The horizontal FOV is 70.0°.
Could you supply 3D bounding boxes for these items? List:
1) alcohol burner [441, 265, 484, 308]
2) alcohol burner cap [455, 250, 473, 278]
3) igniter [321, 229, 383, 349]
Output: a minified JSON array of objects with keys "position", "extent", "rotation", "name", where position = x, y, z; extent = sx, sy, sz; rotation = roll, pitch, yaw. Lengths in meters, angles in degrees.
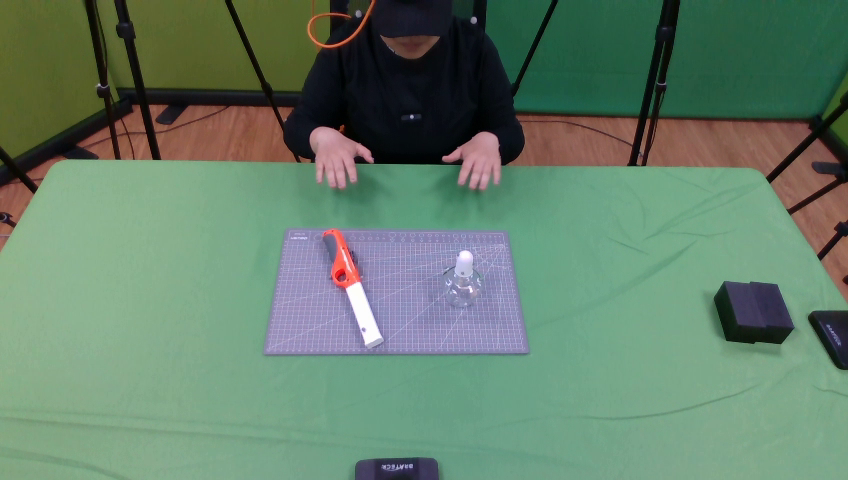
[{"position":[0.069,0.064,1.075],"extent":[0.078,0.120,0.077],"rotation":[1,45,-1],"name":"alcohol burner"},{"position":[0.070,0.040,1.048],"extent":[0.034,0.048,0.033],"rotation":[1,43,-1],"name":"alcohol burner cap"},{"position":[-0.134,0.078,1.102],"extent":[0.057,0.025,0.274],"rotation":[-28,53,0],"name":"igniter"}]
